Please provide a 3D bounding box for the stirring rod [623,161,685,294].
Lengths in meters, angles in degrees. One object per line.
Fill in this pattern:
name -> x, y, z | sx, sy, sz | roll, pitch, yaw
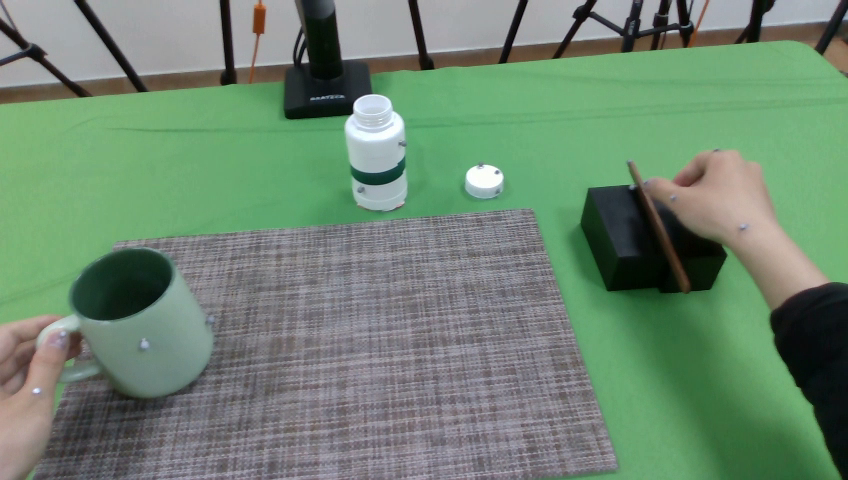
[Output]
stirring rod -> 0.218, -0.018, 0.583 | 0.006, 0.014, 0.174 | -5, 45, 2

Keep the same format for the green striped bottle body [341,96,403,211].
green striped bottle body -> -0.056, -0.094, 0.657 | 0.063, 0.120, 0.062 | 0, 45, 1

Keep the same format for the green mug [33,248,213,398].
green mug -> -0.246, 0.077, 0.496 | 0.125, 0.106, 0.091 | -26, 51, -22

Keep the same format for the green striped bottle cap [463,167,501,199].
green striped bottle cap -> 0.067, -0.066, 0.701 | 0.044, 0.020, 0.044 | -1, 41, 1
